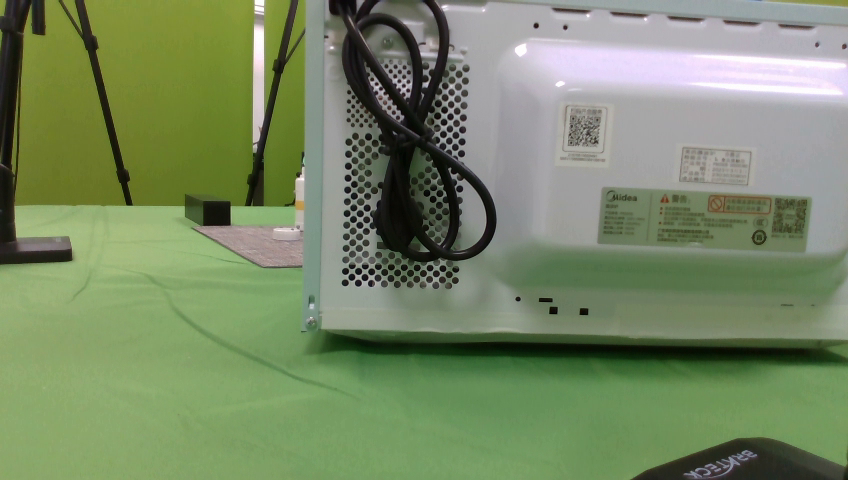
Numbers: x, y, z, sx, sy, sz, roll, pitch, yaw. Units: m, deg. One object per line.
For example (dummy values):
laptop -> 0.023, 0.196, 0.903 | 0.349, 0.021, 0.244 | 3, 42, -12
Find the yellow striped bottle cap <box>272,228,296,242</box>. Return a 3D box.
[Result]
yellow striped bottle cap -> -0.232, -0.008, 1.012 | 0.044, 0.018, 0.044 | 4, 8, 0

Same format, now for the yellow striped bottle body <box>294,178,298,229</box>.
yellow striped bottle body -> -0.213, -0.078, 1.142 | 0.063, 0.120, 0.063 | 2, 8, 0

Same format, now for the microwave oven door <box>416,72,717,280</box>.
microwave oven door -> 0.166, -0.087, 0.765 | 0.355, 0.243, 0.039 | 5, 7, 19

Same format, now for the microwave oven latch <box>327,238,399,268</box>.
microwave oven latch -> -0.069, 0.015, 0.694 | 0.079, 0.029, 0.030 | 3, 7, -3

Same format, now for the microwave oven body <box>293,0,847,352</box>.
microwave oven body -> 0.122, -0.055, 0.550 | 0.442, 0.260, 0.325 | 3, 7, -5
